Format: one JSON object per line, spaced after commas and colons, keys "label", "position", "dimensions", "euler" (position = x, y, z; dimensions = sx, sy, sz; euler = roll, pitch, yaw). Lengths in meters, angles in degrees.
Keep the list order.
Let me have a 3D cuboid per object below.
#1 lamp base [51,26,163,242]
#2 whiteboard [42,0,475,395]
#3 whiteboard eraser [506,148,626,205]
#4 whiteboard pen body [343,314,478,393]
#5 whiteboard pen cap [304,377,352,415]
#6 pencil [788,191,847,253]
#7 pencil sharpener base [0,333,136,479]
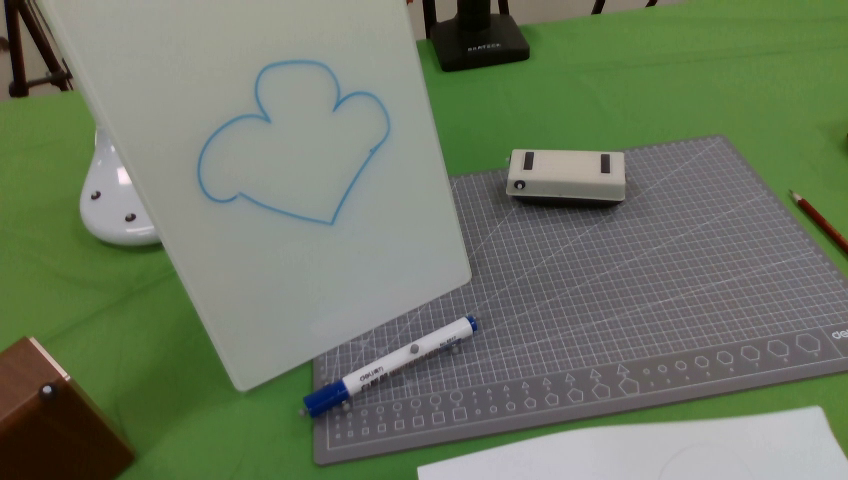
{"label": "lamp base", "position": [-0.299, -0.114, 0.601], "dimensions": [0.178, 0.182, 0.160], "euler": [21, 51, 28]}
{"label": "whiteboard", "position": [-0.113, -0.074, 0.494], "dimensions": [0.217, 0.308, 0.142], "euler": [-24, 28, -16]}
{"label": "whiteboard eraser", "position": [0.140, -0.062, 0.597], "dimensions": [0.112, 0.042, 0.055], "euler": [4, 46, 10]}
{"label": "whiteboard pen body", "position": [-0.020, 0.092, 0.470], "dimensions": [0.141, 0.017, 0.017], "euler": [-24, 47, -16]}
{"label": "whiteboard pen cap", "position": [-0.071, 0.116, 0.453], "dimensions": [0.033, 0.018, 0.018], "euler": [-25, 47, -16]}
{"label": "pencil", "position": [0.374, 0.015, 0.521], "dimensions": [0.012, 0.012, 0.192], "euler": [-11, 43, -5]}
{"label": "pencil sharpener base", "position": [-0.258, 0.128, 0.405], "dimensions": [0.061, 0.108, 0.076], "euler": [28, 54, 30]}
